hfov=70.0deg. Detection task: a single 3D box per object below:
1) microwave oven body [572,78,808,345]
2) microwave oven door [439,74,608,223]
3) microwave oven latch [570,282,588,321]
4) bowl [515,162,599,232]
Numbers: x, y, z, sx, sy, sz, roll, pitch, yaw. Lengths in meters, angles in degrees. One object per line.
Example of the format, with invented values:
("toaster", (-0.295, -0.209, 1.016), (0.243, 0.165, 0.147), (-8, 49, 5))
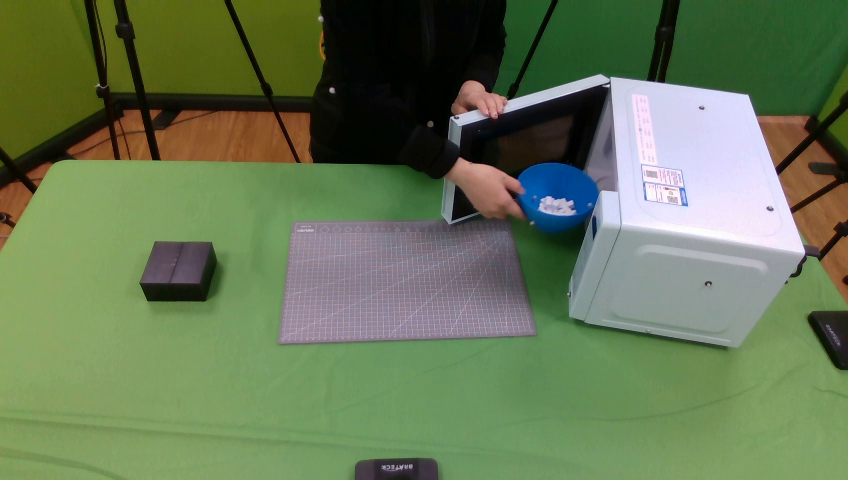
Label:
("microwave oven body", (0.456, -0.063, 1.125), (0.326, 0.261, 0.439), (8, 45, 5))
("microwave oven door", (0.199, -0.185, 1.215), (0.356, 0.245, 0.039), (-20, 51, -22))
("microwave oven latch", (0.276, 0.105, 1.082), (0.030, 0.029, 0.079), (10, 45, 6))
("bowl", (0.239, -0.068, 1.122), (0.151, 0.077, 0.150), (1, 45, -1))
